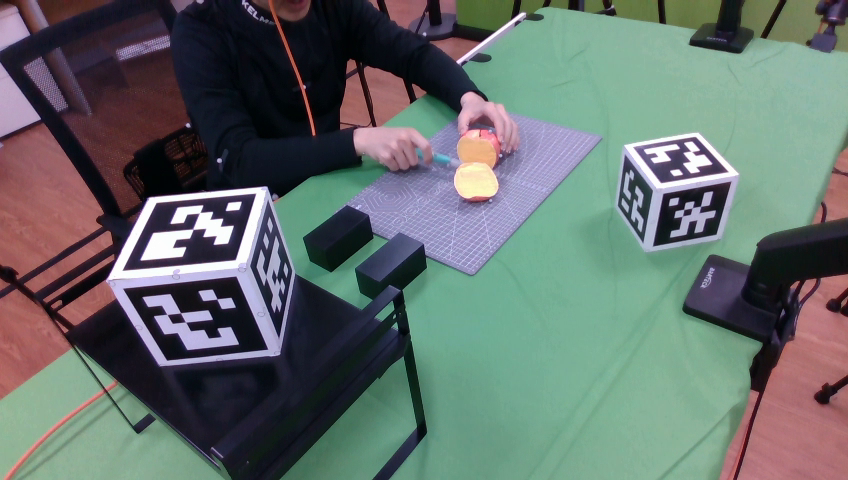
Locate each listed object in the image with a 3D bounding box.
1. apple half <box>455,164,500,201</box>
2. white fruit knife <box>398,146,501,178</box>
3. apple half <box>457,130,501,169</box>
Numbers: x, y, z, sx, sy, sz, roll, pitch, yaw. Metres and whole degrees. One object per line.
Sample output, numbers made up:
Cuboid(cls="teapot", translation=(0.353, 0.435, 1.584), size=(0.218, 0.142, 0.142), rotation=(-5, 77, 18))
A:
Cuboid(cls="apple half", translation=(0.091, -0.096, 1.055), size=(0.081, 0.033, 0.081), rotation=(3, 55, -4))
Cuboid(cls="white fruit knife", translation=(0.044, -0.143, 1.108), size=(0.206, 0.027, 0.016), rotation=(16, 70, 18))
Cuboid(cls="apple half", translation=(0.106, -0.167, 1.107), size=(0.080, 0.075, 0.053), rotation=(10, 37, 24))
